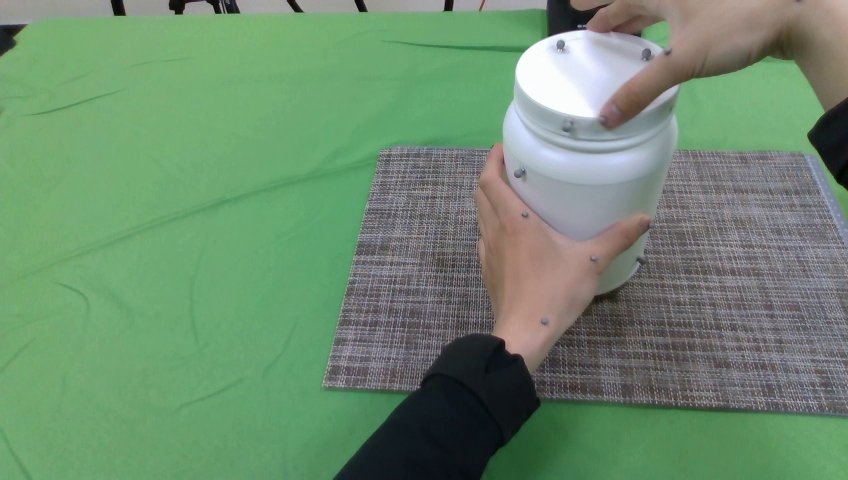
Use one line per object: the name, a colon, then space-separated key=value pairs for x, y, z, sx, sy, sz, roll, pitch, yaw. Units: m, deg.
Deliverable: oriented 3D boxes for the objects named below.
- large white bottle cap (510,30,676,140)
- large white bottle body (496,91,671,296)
large white bottle cap: x=0.119 y=-0.114 z=0.433 sx=0.115 sy=0.018 sz=0.113 roll=-3 pitch=48 yaw=3
large white bottle body: x=0.125 y=-0.056 z=0.497 sx=0.130 sy=0.186 sz=0.129 roll=-2 pitch=48 yaw=3
